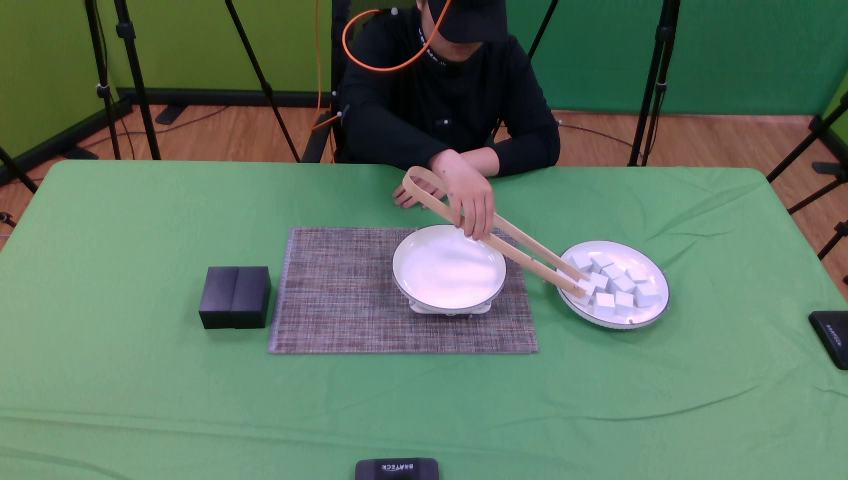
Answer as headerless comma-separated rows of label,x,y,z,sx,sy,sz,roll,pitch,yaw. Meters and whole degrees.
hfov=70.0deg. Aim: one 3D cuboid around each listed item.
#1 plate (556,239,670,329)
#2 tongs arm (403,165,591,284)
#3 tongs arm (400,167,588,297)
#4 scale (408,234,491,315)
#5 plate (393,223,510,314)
plate,0.347,0.083,1.130,0.209,0.038,0.208,2,47,-2
tongs arm,0.134,-0.027,1.093,0.388,0.028,0.028,32,49,-4
tongs arm,0.126,-0.012,1.076,0.385,0.026,0.050,29,46,-7
scale,0.045,0.055,1.135,0.149,0.032,0.199,1,46,-3
plate,0.048,0.053,1.091,0.208,0.039,0.206,1,46,-1
